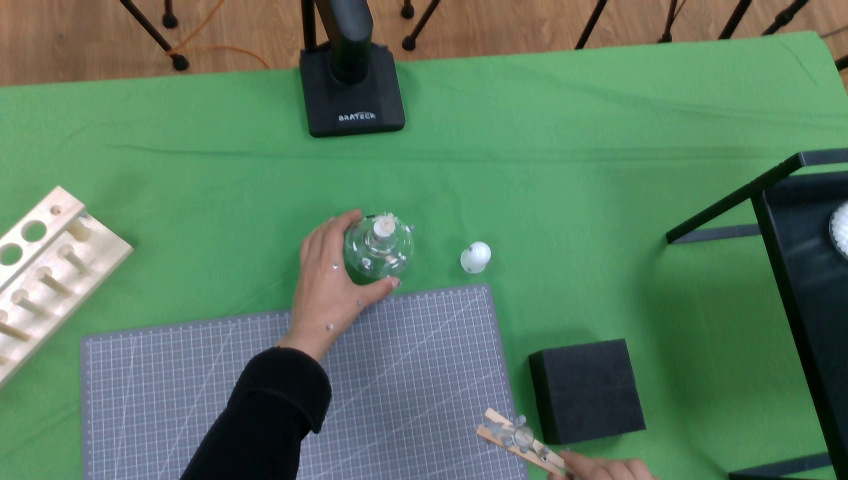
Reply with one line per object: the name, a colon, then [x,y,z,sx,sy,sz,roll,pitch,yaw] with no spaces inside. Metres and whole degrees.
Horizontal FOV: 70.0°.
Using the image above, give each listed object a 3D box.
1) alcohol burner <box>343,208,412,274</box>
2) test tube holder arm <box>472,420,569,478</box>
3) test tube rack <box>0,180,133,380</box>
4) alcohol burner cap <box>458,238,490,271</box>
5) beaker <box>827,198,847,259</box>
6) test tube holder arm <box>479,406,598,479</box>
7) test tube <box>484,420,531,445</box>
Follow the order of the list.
alcohol burner: [-0.049,-0.004,0.664,0.078,0.119,0.077,3,72,-10]
test tube holder arm: [0.082,0.175,0.508,0.087,0.015,0.010,25,79,5]
test tube rack: [-0.411,0.062,0.594,0.066,0.085,0.241,37,71,3]
alcohol burner cap: [0.061,0.016,0.715,0.034,0.048,0.033,3,72,-9]
beaker: [0.445,-0.022,0.574,0.084,0.100,0.073,22,70,-2]
test tube holder arm: [0.123,0.192,0.505,0.178,0.015,0.013,31,80,6]
test tube: [0.064,0.156,0.496,0.017,0.151,0.017,1,74,-2]
